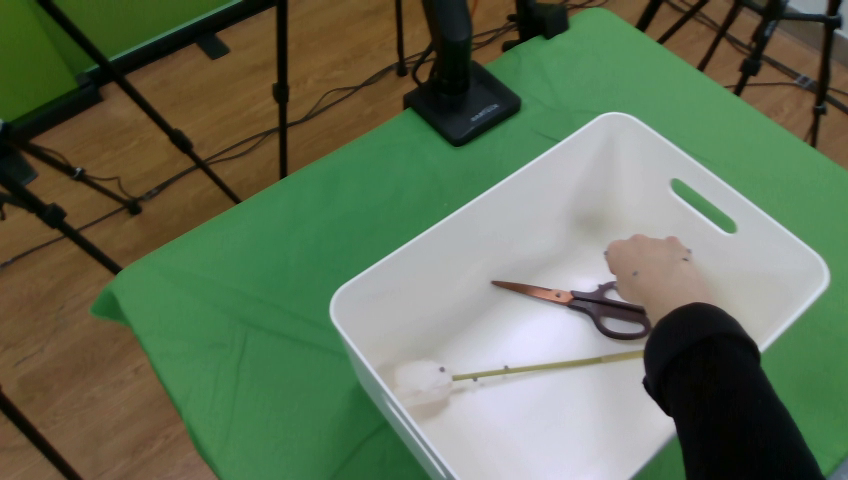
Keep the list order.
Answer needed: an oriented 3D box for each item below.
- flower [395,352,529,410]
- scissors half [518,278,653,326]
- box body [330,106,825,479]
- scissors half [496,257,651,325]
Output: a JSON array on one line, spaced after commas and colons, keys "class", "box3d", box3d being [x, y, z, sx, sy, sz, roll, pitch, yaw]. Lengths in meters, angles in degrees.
[{"class": "flower", "box3d": [0.136, 0.115, 0.646, 0.363, 0.044, 0.038, -10, 30, -29]}, {"class": "scissors half", "box3d": [0.158, 0.063, 0.662, 0.174, 0.040, 0.013, 11, 15, 19]}, {"class": "box body", "box3d": [0.132, 0.075, 0.569, 0.364, 0.162, 0.252, -35, 63, -20]}, {"class": "scissors half", "box3d": [0.160, 0.049, 0.658, 0.174, 0.040, 0.013, 18, 23, 16]}]
